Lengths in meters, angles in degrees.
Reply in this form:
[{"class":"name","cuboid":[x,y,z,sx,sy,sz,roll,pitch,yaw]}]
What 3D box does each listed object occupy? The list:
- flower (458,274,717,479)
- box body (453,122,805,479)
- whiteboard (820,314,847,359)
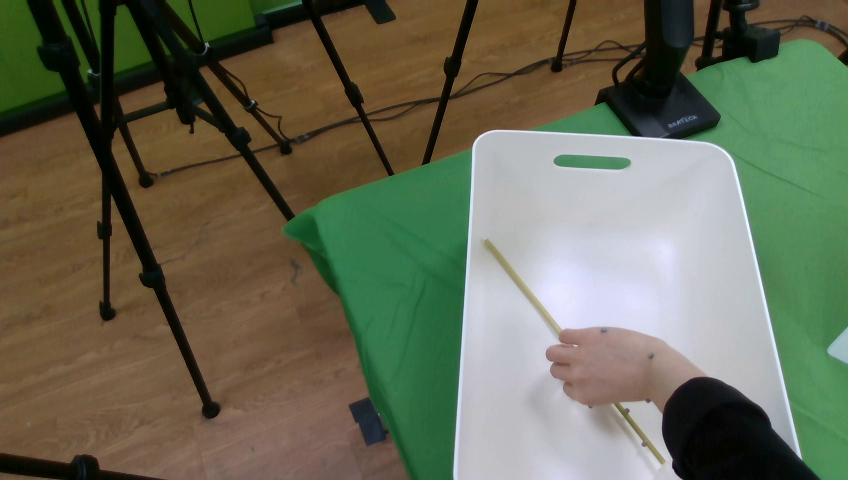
[{"class":"flower","cuboid":[0.150,0.141,0.642,0.044,0.038,0.358,-46,54,-2]},{"class":"box body","cuboid":[0.160,0.081,0.579,0.254,0.162,0.361,4,59,2]},{"class":"whiteboard","cuboid":[0.581,0.015,0.575,0.216,0.307,0.143,28,43,17]}]
